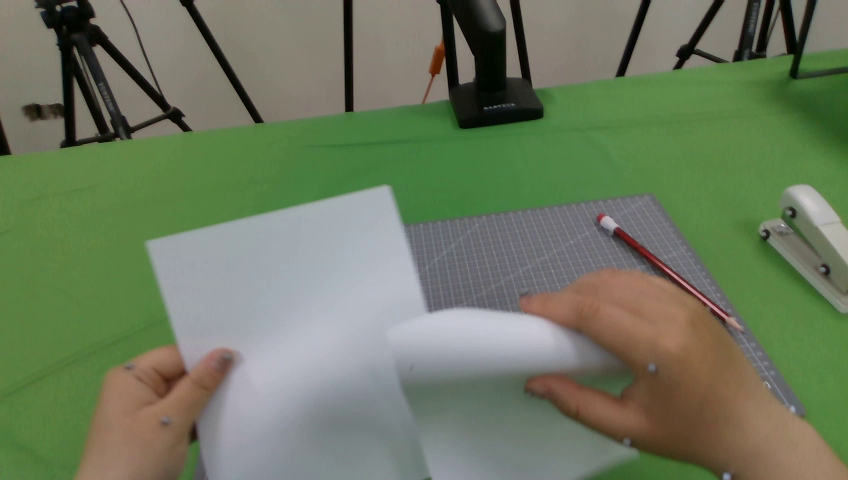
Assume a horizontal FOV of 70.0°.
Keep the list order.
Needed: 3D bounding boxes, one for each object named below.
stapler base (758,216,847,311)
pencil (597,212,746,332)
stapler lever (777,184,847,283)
[{"bbox_3d":[0.363,0.012,0.558,0.041,0.025,0.129,-12,40,-3],"label":"stapler base"},{"bbox_3d":[0.225,0.024,0.567,0.012,0.012,0.192,-19,40,-16],"label":"pencil"},{"bbox_3d":[0.361,-0.007,0.541,0.027,0.040,0.116,-12,40,-3],"label":"stapler lever"}]
